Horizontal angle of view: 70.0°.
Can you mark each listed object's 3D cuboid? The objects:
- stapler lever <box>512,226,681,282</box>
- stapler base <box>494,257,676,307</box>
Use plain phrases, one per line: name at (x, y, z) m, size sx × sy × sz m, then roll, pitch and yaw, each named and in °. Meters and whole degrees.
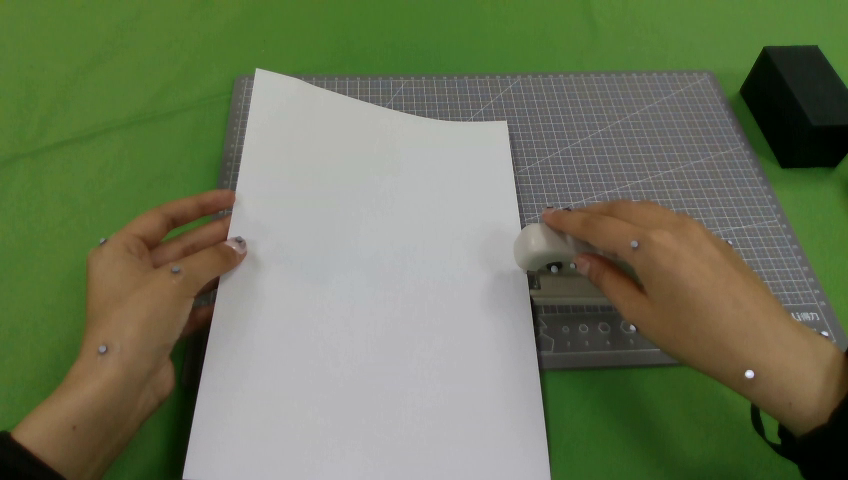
stapler lever at (0.119, 0.010, 0.412) m, size 0.118 × 0.040 × 0.026 m, roll 0°, pitch 56°, yaw -3°
stapler base at (0.116, 0.025, 0.431) m, size 0.131 × 0.024 × 0.041 m, roll 1°, pitch 56°, yaw -5°
